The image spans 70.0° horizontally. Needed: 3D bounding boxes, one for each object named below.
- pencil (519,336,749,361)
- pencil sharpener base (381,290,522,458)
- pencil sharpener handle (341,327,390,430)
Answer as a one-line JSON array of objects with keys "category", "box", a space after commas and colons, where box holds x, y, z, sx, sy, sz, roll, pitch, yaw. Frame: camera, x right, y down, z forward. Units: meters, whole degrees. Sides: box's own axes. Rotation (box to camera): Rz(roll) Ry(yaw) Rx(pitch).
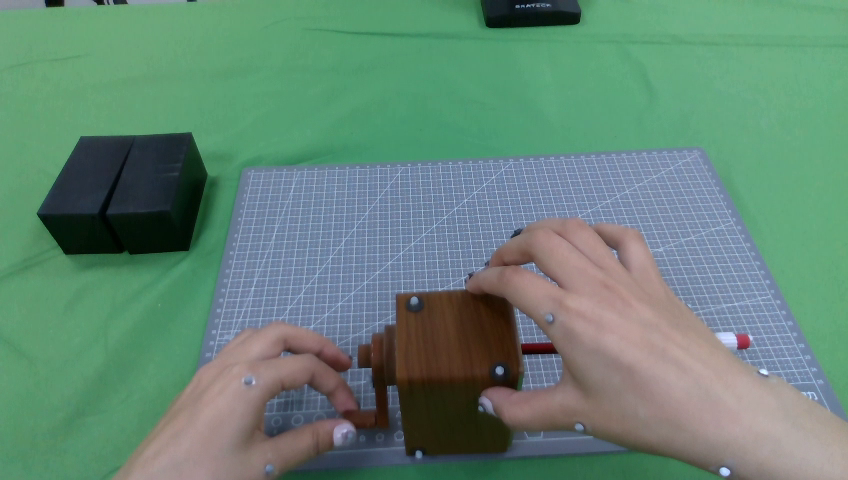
[{"category": "pencil", "box": [0.095, 0.066, 0.358, 0.194, 0.012, 0.012, -2, 48, -1]}, {"category": "pencil sharpener base", "box": [0.015, 0.086, 0.376, 0.077, 0.108, 0.060, -3, 48, -1]}, {"category": "pencil sharpener handle", "box": [-0.036, 0.085, 0.360, 0.030, 0.068, 0.035, -3, 21, -1]}]
